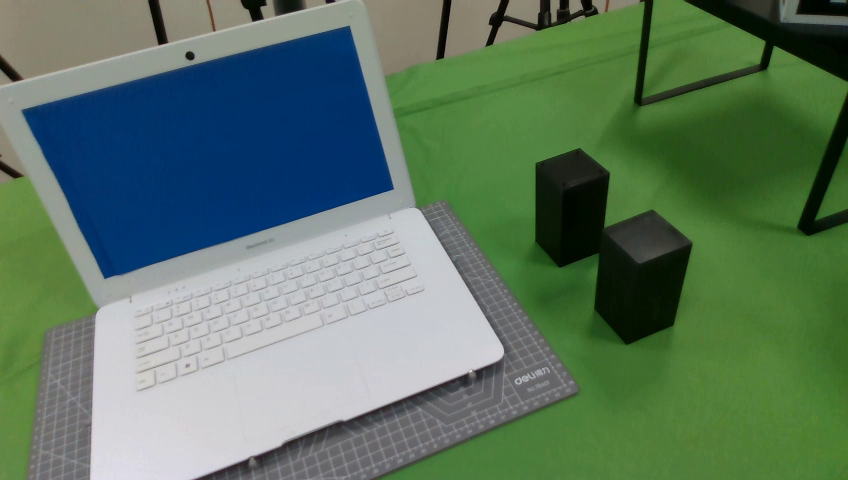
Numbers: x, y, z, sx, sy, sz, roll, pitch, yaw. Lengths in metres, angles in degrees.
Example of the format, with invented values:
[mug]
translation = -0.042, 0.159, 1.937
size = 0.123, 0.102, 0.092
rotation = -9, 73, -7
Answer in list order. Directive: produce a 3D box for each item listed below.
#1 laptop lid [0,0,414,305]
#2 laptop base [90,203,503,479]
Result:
[laptop lid]
translation = -0.198, -0.087, 0.613
size = 0.357, 0.243, 0.013
rotation = -20, 24, -11
[laptop base]
translation = -0.131, 0.087, 0.578
size = 0.355, 0.023, 0.232
rotation = -19, 46, -11
